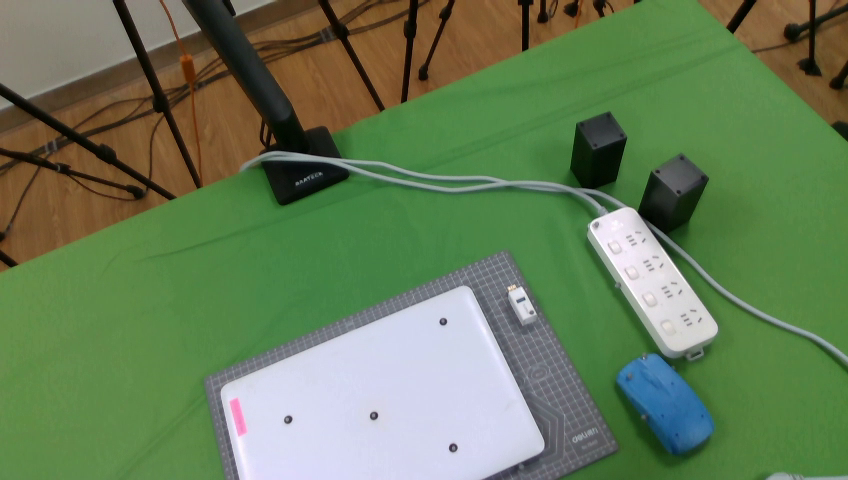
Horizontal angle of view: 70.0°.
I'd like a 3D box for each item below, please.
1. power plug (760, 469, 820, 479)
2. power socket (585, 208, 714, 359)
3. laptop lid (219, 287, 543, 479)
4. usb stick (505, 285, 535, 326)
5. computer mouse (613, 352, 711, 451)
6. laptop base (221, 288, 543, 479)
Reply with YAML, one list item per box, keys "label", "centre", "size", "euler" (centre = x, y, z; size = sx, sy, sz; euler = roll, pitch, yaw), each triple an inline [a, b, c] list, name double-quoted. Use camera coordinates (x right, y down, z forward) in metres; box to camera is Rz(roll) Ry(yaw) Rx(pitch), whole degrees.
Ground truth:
- label: "power plug"
  centre: [0.396, 0.272, 0.651]
  size: [0.072, 0.035, 0.052]
  euler: [-11, 40, 13]
- label: "power socket"
  centre: [0.292, 0.051, 0.799]
  size: [0.072, 0.033, 0.224]
  euler: [-21, 60, -7]
- label: "laptop lid"
  centre: [-0.062, 0.217, 0.743]
  size: [0.357, 0.013, 0.239]
  euler: [-21, 62, -5]
- label: "usb stick"
  centre: [0.124, 0.082, 0.802]
  size: [0.021, 0.027, 0.058]
  euler: [-24, 58, -3]
- label: "computer mouse"
  centre: [0.281, 0.187, 0.718]
  size: [0.063, 0.041, 0.116]
  euler: [-28, 56, -6]
- label: "laptop base"
  centre: [-0.061, 0.221, 0.754]
  size: [0.354, 0.023, 0.233]
  euler: [-22, 63, -6]
